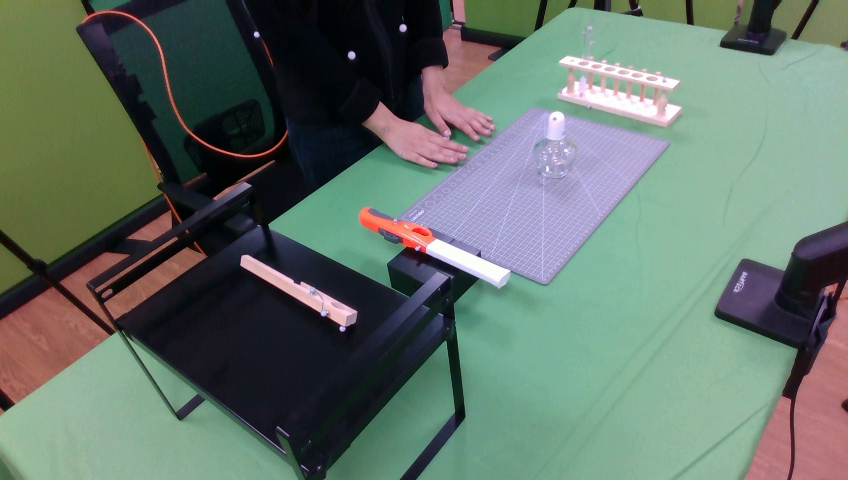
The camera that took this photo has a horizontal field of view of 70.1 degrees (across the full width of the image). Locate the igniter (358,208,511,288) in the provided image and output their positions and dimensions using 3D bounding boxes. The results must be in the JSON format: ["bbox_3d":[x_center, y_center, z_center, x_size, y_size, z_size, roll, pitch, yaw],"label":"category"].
[{"bbox_3d":[0.005,0.005,0.892,0.274,0.025,0.057,24,38,31],"label":"igniter"}]

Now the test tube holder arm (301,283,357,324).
[{"bbox_3d":[-0.105,0.066,0.638,0.087,0.015,0.010,22,14,33],"label":"test tube holder arm"}]

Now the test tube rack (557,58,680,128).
[{"bbox_3d":[0.395,-0.309,1.230,0.240,0.085,0.067,25,50,33],"label":"test tube rack"}]

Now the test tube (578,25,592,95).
[{"bbox_3d":[0.326,-0.362,1.227,0.017,0.151,0.017,-3,44,4],"label":"test tube"}]

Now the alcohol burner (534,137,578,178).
[{"bbox_3d":[0.232,-0.170,1.065,0.078,0.119,0.077,-5,39,5],"label":"alcohol burner"}]

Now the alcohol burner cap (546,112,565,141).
[{"bbox_3d":[0.229,-0.198,1.042,0.034,0.048,0.033,-3,40,3],"label":"alcohol burner cap"}]

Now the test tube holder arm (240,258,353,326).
[{"bbox_3d":[-0.143,0.053,0.658,0.177,0.015,0.013,21,14,32],"label":"test tube holder arm"}]
